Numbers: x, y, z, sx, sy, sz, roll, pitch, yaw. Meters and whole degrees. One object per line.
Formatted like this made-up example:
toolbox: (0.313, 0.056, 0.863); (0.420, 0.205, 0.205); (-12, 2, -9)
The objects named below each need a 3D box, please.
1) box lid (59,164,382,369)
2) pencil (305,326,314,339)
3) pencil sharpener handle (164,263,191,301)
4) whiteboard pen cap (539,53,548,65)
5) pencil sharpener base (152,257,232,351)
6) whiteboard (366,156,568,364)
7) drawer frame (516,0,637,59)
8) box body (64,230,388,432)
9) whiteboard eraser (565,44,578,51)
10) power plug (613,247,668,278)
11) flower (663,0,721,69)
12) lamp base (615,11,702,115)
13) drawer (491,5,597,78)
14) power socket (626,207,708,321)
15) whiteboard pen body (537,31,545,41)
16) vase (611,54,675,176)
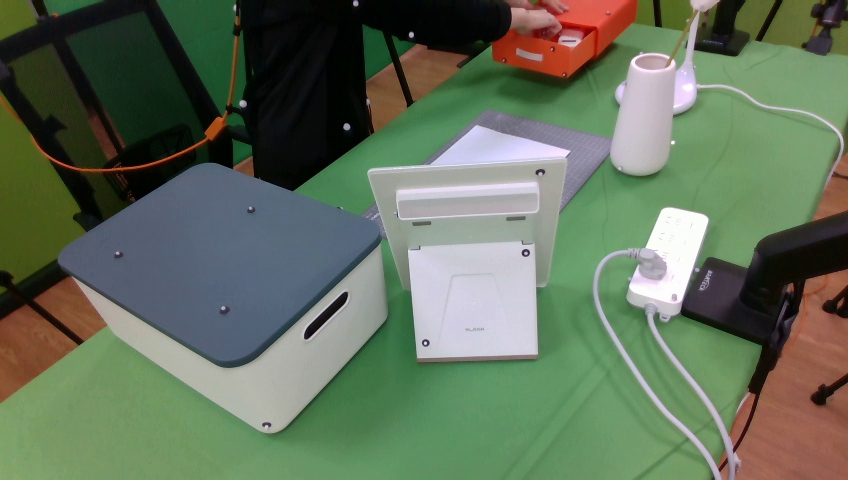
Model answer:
box lid: (-0.263, 0.010, 0.777); (0.368, 0.015, 0.264); (20, 47, 29)
pencil: (-0.187, 0.106, 0.880); (0.012, 0.012, 0.192); (-27, 42, -22)
pencil sharpener handle: (-0.354, 0.055, 0.866); (0.036, 0.068, 0.030); (-17, 39, -29)
whiteboard pen cap: (0.263, -0.398, 1.329); (0.018, 0.018, 0.033); (-2, 41, 6)
pencil sharpener base: (-0.322, 0.088, 0.841); (0.061, 0.107, 0.076); (-28, 44, -20)
whiteboard: (0.059, 0.050, 0.738); (0.217, 0.307, 0.143); (-2, 60, 6)
drawer frame: (0.356, -0.516, 1.415); (0.200, 0.083, 0.214); (22, 50, 31)
box body: (-0.256, 0.065, 0.827); (0.361, 0.161, 0.255); (20, 48, 29)
whiteboard eraser: (0.332, -0.414, 1.357); (0.055, 0.042, 0.113); (2, 12, 22)
power plug: (0.306, 0.031, 0.851); (0.072, 0.053, 0.035); (24, 49, 34)
flower: (0.379, -0.261, 0.965); (0.044, 0.362, 0.038); (20, 53, 4)
lamp base: (0.484, -0.364, 1.211); (0.180, 0.181, 0.159); (-15, 41, -13)
drawer: (0.289, -0.453, 1.353); (0.193, 0.073, 0.212); (24, 49, 32)
power socket: (0.359, 0.025, 0.886); (0.072, 0.033, 0.227); (16, 46, 26)
whiteboard pen body: (0.268, -0.441, 1.370); (0.017, 0.017, 0.140); (-1, 40, 7)
vase: (0.377, -0.209, 1.031); (0.098, 0.201, 0.097); (-3, 40, 3)
